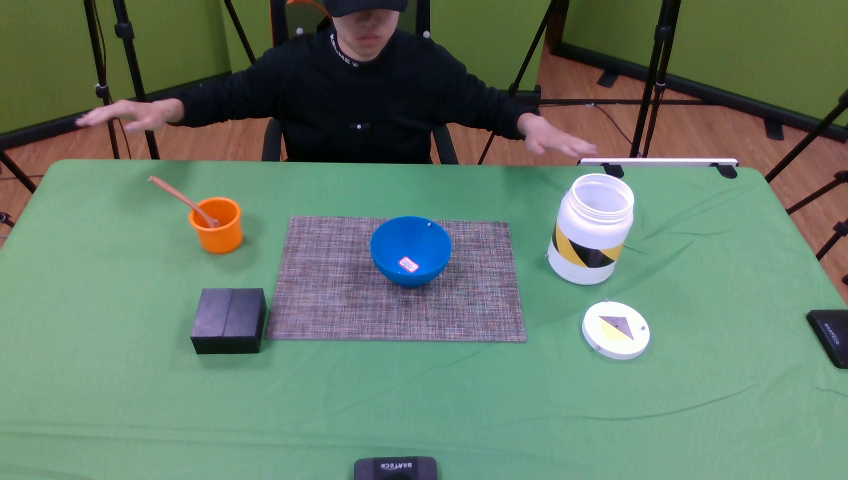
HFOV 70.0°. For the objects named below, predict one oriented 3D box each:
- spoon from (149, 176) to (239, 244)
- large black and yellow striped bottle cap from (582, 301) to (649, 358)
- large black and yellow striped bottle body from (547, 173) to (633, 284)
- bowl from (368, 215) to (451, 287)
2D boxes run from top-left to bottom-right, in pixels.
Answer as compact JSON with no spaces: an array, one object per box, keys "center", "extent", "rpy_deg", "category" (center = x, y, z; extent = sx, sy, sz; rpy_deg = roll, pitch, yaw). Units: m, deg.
[{"center":[-0.427,-0.057,1.132],"extent":[0.021,0.195,0.041],"rpy_deg":[-27,31,34],"category":"spoon"},{"center":[0.340,0.157,1.077],"extent":[0.115,0.019,0.114],"rpy_deg":[1,47,-1],"category":"large black and yellow striped bottle cap"},{"center":[0.309,-0.022,1.130],"extent":[0.131,0.185,0.130],"rpy_deg":[2,46,-2],"category":"large black and yellow striped bottle body"},{"center":[-0.028,0.033,1.119],"extent":[0.151,0.077,0.150],"rpy_deg":[2,46,-2],"category":"bowl"}]
